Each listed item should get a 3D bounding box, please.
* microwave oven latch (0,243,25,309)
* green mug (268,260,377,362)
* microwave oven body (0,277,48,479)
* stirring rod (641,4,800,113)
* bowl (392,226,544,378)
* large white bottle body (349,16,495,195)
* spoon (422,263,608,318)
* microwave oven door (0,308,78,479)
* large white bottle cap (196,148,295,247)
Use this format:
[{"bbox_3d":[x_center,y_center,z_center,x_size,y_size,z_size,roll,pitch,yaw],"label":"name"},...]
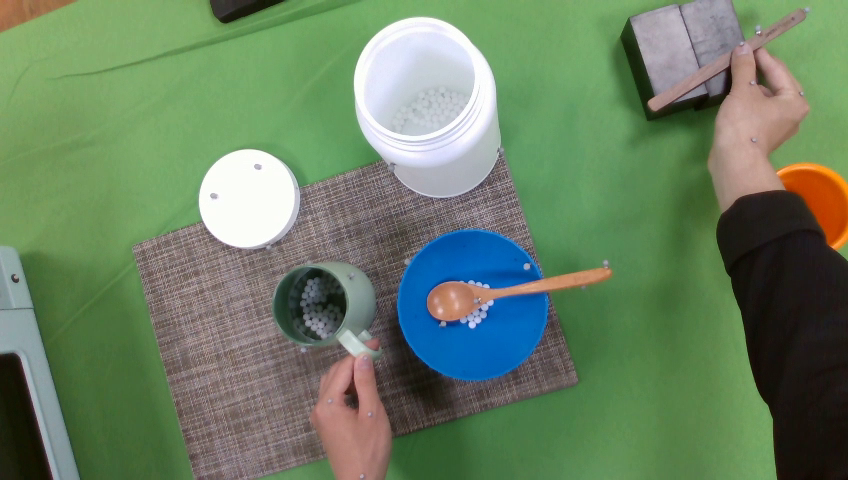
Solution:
[{"bbox_3d":[-0.494,0.043,0.703,0.030,0.029,0.079,-19,85,5],"label":"microwave oven latch"},{"bbox_3d":[-0.096,0.078,0.634,0.092,0.105,0.125,-45,83,2],"label":"green mug"},{"bbox_3d":[-0.588,0.252,0.606,0.326,0.261,0.440,-20,85,5],"label":"microwave oven body"},{"bbox_3d":[0.296,-0.181,0.607,0.176,0.006,0.014,-33,86,6],"label":"stirring rod"},{"bbox_3d":[0.047,0.063,0.631,0.151,0.077,0.151,0,87,8],"label":"bowl"},{"bbox_3d":[0.002,-0.125,0.593,0.130,0.185,0.130,-1,82,8],"label":"large white bottle body"},{"bbox_3d":[0.085,0.048,0.599,0.193,0.022,0.041,-13,87,30],"label":"spoon"},{"bbox_3d":[-0.438,0.242,0.583,0.039,0.244,0.355,-20,84,5],"label":"microwave oven door"},{"bbox_3d":[-0.206,-0.049,0.698,0.115,0.018,0.114,-1,86,7],"label":"large white bottle cap"}]
